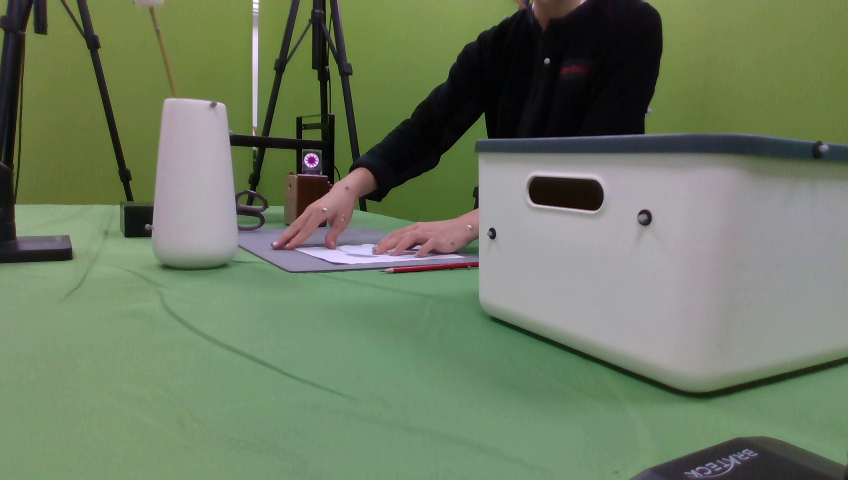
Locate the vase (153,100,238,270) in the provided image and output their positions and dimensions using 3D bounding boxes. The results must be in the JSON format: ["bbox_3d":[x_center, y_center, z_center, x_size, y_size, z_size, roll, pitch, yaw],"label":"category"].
[{"bbox_3d":[-0.278,-0.066,0.736,0.098,0.200,0.098,2,9,0],"label":"vase"}]

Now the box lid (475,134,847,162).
[{"bbox_3d":[0.256,-0.073,0.528,0.373,0.015,0.262,-2,8,-31],"label":"box lid"}]

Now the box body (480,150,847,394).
[{"bbox_3d":[0.254,0.002,0.539,0.366,0.160,0.253,-2,8,-31],"label":"box body"}]

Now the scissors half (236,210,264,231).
[{"bbox_3d":[-0.369,-0.051,1.064,0.176,0.040,0.012,19,13,-27],"label":"scissors half"}]

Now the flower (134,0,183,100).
[{"bbox_3d":[-0.282,-0.147,0.713,0.038,0.362,0.044,-23,24,-31],"label":"flower"}]

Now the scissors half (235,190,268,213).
[{"bbox_3d":[-0.363,-0.070,1.060,0.176,0.040,0.013,0,15,-23],"label":"scissors half"}]

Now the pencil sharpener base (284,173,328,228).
[{"bbox_3d":[-0.239,-0.081,1.231,0.077,0.107,0.061,-2,8,-36],"label":"pencil sharpener base"}]

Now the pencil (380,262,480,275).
[{"bbox_3d":[0.030,0.036,0.794,0.195,0.012,0.012,-3,9,-30],"label":"pencil"}]

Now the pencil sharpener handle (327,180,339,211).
[{"bbox_3d":[-0.194,-0.095,1.257,0.031,0.067,0.036,-2,-6,-36],"label":"pencil sharpener handle"}]
